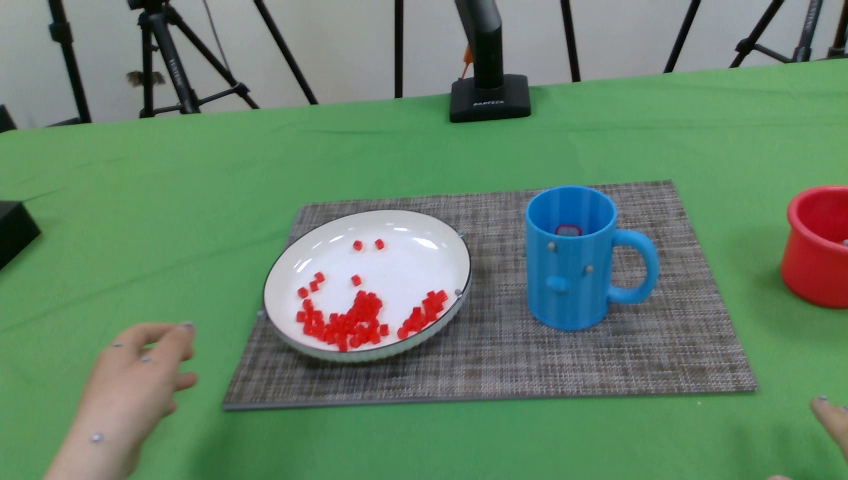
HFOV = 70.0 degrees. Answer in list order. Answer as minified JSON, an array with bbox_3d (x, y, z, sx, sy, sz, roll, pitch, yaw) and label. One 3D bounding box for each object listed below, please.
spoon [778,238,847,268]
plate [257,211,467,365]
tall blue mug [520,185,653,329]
[{"bbox_3d":[0.393,-0.009,0.504,0.041,0.193,0.021,-36,91,-35],"label":"spoon"},{"bbox_3d":[-0.059,0.046,0.604,0.207,0.039,0.205,-5,39,5],"label":"plate"},{"bbox_3d":[0.142,0.015,0.546,0.107,0.109,0.077,-8,38,2],"label":"tall blue mug"}]
